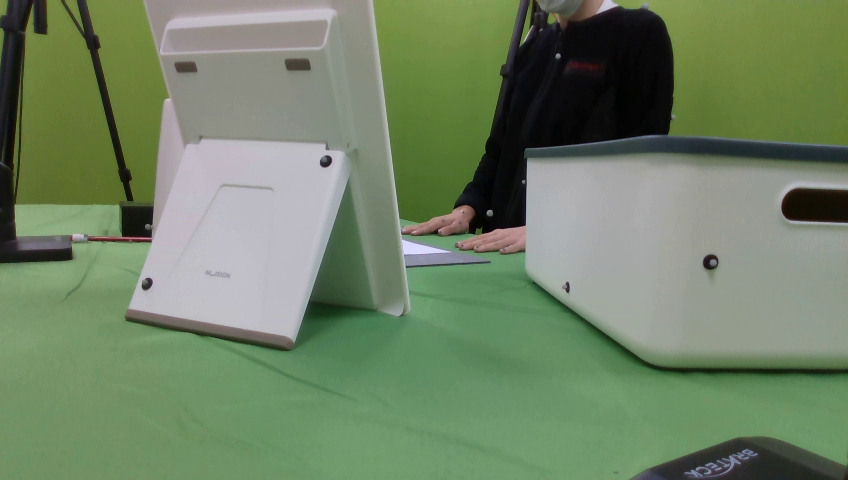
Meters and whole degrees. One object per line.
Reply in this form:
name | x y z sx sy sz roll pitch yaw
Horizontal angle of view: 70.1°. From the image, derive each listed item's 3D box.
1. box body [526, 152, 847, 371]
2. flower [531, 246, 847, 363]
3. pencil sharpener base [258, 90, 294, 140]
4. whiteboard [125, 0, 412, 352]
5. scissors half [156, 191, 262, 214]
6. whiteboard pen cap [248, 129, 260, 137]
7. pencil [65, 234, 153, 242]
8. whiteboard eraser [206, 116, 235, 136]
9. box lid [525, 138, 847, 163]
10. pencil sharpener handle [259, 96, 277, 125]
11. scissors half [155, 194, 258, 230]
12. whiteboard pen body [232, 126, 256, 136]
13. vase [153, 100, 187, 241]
box body | 0.259 -0.004 0.584 0.255 0.160 0.363 2 7 -6
flower | 0.251 0.063 0.602 0.359 0.038 0.044 20 -13 49
pencil sharpener base | -0.341 -0.285 1.388 0.062 0.107 0.076 -3 9 -36
whiteboard | -0.151 -0.049 0.472 0.216 0.305 0.144 6 27 24
scissors half | -0.371 -0.069 1.051 0.176 0.040 0.013 2 25 -24
whiteboard pen cap | -0.373 -0.235 1.326 0.018 0.018 0.033 -3 12 -35
pencil | -0.429 -0.001 0.911 0.195 0.012 0.012 1 8 -20
whiteboard eraser | -0.449 -0.251 1.335 0.056 0.042 0.112 1 7 -22
box lid | 0.262 -0.076 0.573 0.264 0.015 0.371 2 7 -6
pencil sharpener handle | -0.373 -0.304 1.425 0.036 0.067 0.030 13 -1 -37
scissors half | -0.378 -0.051 1.059 0.176 0.040 0.012 20 22 -31
whiteboard pen body | -0.407 -0.247 1.372 0.017 0.017 0.140 -3 13 -35
vase | -0.278 -0.066 0.736 0.098 0.200 0.098 2 9 0
